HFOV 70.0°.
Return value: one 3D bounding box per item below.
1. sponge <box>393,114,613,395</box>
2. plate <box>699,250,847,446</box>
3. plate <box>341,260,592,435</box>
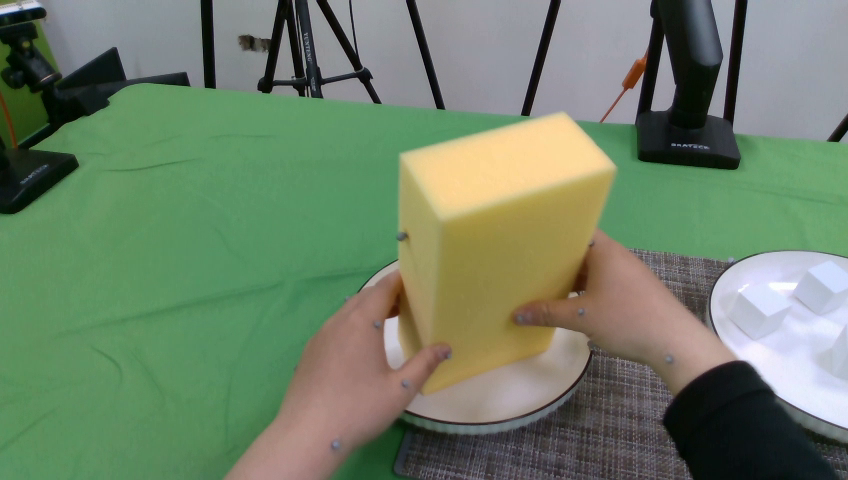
[{"bbox_3d":[0.043,0.021,0.438,0.118,0.208,0.060,-16,52,-18],"label":"sponge"},{"bbox_3d":[0.333,0.087,0.496,0.208,0.039,0.205,-1,38,1],"label":"plate"},{"bbox_3d":[0.035,0.081,0.516,0.209,0.038,0.207,-1,38,1],"label":"plate"}]
